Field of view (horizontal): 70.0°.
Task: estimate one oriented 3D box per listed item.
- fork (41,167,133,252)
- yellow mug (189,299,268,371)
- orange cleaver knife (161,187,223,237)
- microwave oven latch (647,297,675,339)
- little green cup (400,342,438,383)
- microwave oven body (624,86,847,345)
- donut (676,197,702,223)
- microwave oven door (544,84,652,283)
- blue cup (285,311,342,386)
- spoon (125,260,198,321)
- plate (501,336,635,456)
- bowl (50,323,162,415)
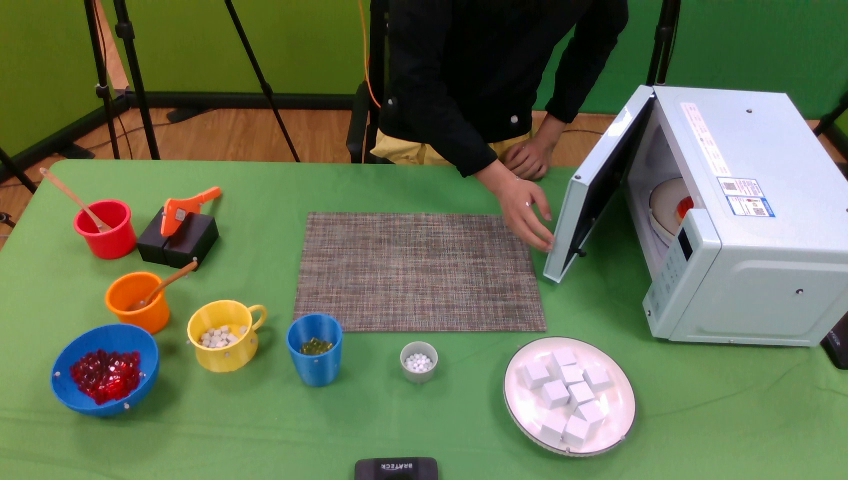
[{"bbox_3d":[-0.624,-0.056,1.121,0.208,0.018,0.028,49,52,-15],"label":"fork"},{"bbox_3d":[-0.316,0.148,1.002,0.131,0.064,0.099,-32,56,-31],"label":"yellow mug"},{"bbox_3d":[-0.448,-0.059,1.181,0.012,0.077,0.211,13,17,6],"label":"orange cleaver knife"},{"bbox_3d":[0.413,0.134,1.061,0.030,0.029,0.078,5,45,2],"label":"microwave oven latch"},{"bbox_3d":[-0.010,0.202,0.991,0.061,0.039,0.061,2,47,-2],"label":"little green cup"},{"bbox_3d":[0.568,-0.053,1.118,0.326,0.261,0.439,2,45,-1],"label":"microwave oven body"},{"bbox_3d":[0.537,-0.046,1.169,0.099,0.048,0.098,8,39,-6],"label":"donut"},{"bbox_3d":[0.337,-0.115,1.155,0.039,0.245,0.355,26,50,20],"label":"microwave oven door"},{"bbox_3d":[-0.169,0.179,0.958,0.093,0.101,0.092,1,44,-1],"label":"blue cup"},{"bbox_3d":[-0.435,0.083,1.000,0.022,0.194,0.041,35,34,-35],"label":"spoon"},{"bbox_3d":[0.225,0.248,0.963,0.208,0.039,0.206,2,46,-2],"label":"plate"},{"bbox_3d":[-0.472,0.209,0.924,0.151,0.077,0.150,2,45,-2],"label":"bowl"}]
